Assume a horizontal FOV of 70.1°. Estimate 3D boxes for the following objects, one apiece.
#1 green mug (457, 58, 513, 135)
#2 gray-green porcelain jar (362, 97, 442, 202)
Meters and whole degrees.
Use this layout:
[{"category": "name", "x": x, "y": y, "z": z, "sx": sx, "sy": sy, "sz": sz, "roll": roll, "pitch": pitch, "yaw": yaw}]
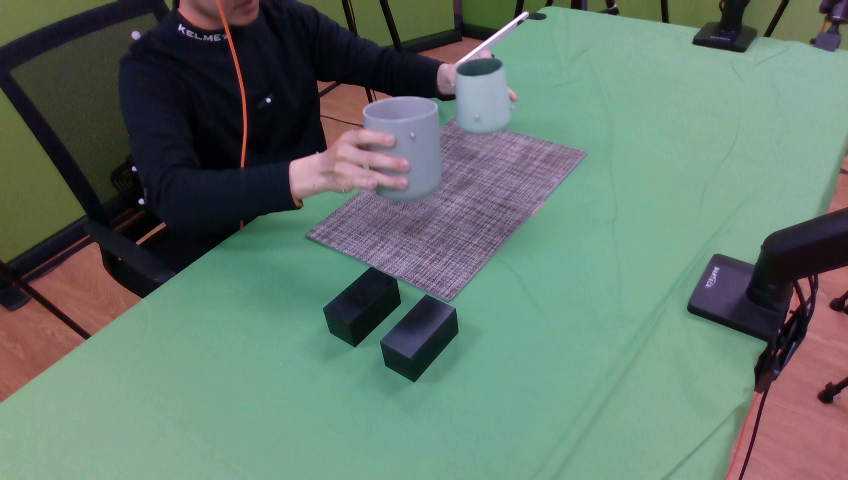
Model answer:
[{"category": "green mug", "x": 0.099, "y": -0.247, "z": 1.017, "sx": 0.092, "sy": 0.105, "sz": 0.124, "roll": -8, "pitch": 36, "yaw": 4}, {"category": "gray-green porcelain jar", "x": -0.029, "y": -0.126, "z": 0.861, "sx": 0.106, "sy": 0.127, "sz": 0.105, "roll": -3, "pitch": 31, "yaw": 2}]
